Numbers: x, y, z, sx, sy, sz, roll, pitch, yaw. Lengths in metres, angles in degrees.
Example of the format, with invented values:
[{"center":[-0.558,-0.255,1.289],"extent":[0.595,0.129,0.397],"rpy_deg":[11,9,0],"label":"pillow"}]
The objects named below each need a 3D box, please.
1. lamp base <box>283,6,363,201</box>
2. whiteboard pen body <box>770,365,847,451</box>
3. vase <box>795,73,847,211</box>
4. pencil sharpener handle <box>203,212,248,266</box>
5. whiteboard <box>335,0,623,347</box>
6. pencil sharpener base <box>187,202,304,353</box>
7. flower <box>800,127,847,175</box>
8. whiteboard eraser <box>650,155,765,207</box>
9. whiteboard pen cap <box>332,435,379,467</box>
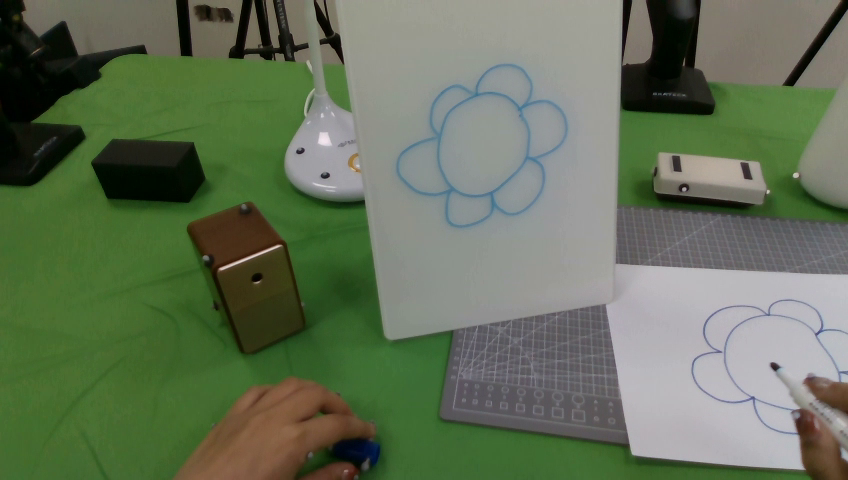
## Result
[{"center":[-0.100,-0.163,0.694],"extent":[0.161,0.182,0.177],"rpy_deg":[-29,45,-27],"label":"lamp base"},{"center":[0.226,0.106,0.304],"extent":[0.017,0.017,0.139],"rpy_deg":[-11,29,-10],"label":"whiteboard pen body"},{"center":[0.465,-0.127,0.621],"extent":[0.098,0.202,0.097],"rpy_deg":[0,41,1],"label":"vase"},{"center":[-0.182,-0.005,0.553],"extent":[0.036,0.068,0.030],"rpy_deg":[-31,48,-18],"label":"pencil sharpener handle"},{"center":[0.046,-0.087,0.552],"extent":[0.217,0.307,0.142],"rpy_deg":[-8,22,-6],"label":"whiteboard"},{"center":[-0.155,0.032,0.529],"extent":[0.061,0.108,0.076],"rpy_deg":[-25,46,-24],"label":"pencil sharpener base"},{"center":[0.471,-0.178,0.554],"extent":[0.044,0.364,0.038],"rpy_deg":[-11,59,-20],"label":"flower"},{"center":[0.312,-0.064,0.674],"extent":[0.112,0.042,0.055],"rpy_deg":[6,39,10],"label":"whiteboard eraser"},{"center":[-0.050,0.158,0.451],"extent":[0.033,0.018,0.018],"rpy_deg":[12,43,14],"label":"whiteboard pen cap"}]
